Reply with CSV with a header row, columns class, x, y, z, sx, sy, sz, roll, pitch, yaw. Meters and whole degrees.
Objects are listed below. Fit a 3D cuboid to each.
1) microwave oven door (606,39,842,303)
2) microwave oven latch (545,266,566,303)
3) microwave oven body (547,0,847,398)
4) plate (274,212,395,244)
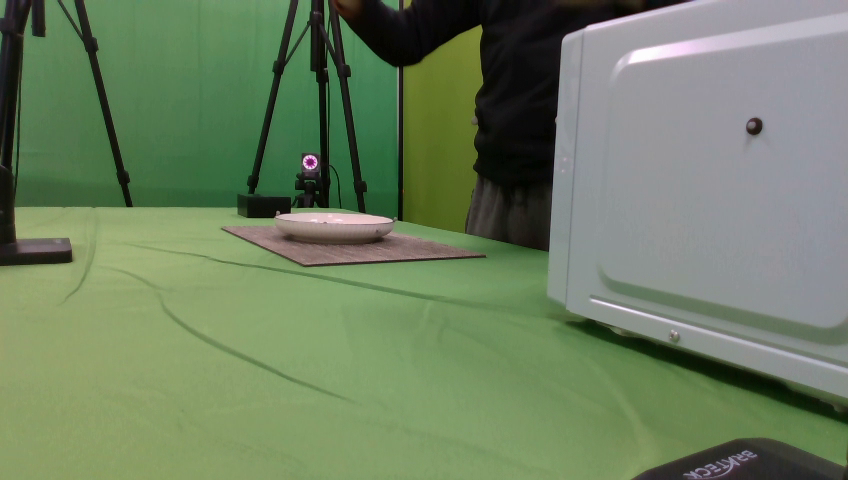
class,x,y,z,sx,sy,sz,roll,pitch,yaw
microwave oven door,0.341,-0.070,0.654,0.358,0.243,0.039,-3,9,-31
microwave oven latch,0.148,0.039,0.555,0.079,0.029,0.030,-2,7,-29
microwave oven body,0.378,-0.045,0.509,0.444,0.260,0.324,-2,8,-31
plate,-0.157,-0.022,1.066,0.209,0.038,0.209,2,7,0
